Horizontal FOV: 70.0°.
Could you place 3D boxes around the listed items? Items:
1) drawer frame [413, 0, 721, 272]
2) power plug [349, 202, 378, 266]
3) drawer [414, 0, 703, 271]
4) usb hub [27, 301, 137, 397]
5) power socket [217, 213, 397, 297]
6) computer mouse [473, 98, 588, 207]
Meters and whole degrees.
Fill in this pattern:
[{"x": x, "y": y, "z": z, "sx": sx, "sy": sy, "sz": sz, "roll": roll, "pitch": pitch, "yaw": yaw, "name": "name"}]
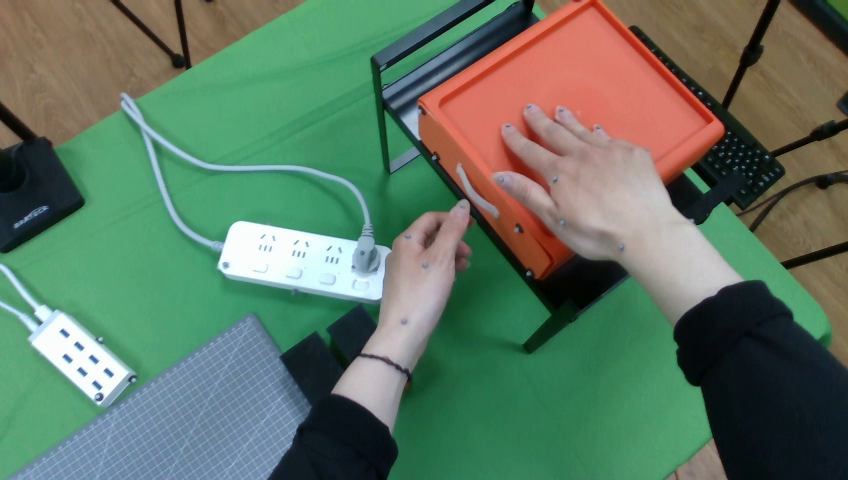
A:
[{"x": 0.131, "y": -0.112, "z": 0.590, "sx": 0.213, "sy": 0.083, "sz": 0.200, "roll": -36, "pitch": 76, "yaw": -13, "name": "drawer frame"}, {"x": -0.067, "y": -0.002, "z": 0.746, "sx": 0.035, "sy": 0.053, "sz": 0.072, "roll": 21, "pitch": 71, "yaw": 7, "name": "power plug"}, {"x": 0.129, "y": -0.108, "z": 0.591, "sx": 0.212, "sy": 0.073, "sz": 0.193, "roll": -35, "pitch": 76, "yaw": -12, "name": "drawer"}, {"x": -0.407, "y": 0.129, "z": 0.720, "sx": 0.124, "sy": 0.025, "sz": 0.049, "roll": 36, "pitch": 76, "yaw": 10, "name": "usb hub"}, {"x": -0.146, "y": 0.018, "z": 0.757, "sx": 0.227, "sy": 0.033, "sz": 0.072, "roll": 10, "pitch": 72, "yaw": 2, "name": "power socket"}, {"x": 0.105, "y": -0.090, "z": 0.599, "sx": 0.063, "sy": 0.041, "sz": 0.116, "roll": -40, "pitch": 75, "yaw": -8, "name": "computer mouse"}]
